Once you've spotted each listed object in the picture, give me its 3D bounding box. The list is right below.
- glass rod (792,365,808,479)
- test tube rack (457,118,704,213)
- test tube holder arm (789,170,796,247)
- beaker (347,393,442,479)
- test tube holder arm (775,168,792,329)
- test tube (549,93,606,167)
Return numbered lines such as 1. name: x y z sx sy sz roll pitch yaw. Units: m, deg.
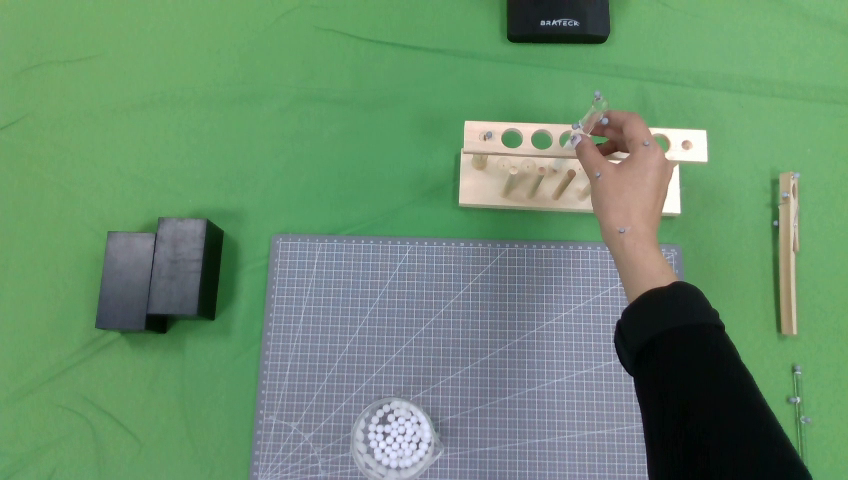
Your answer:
1. glass rod: 0.384 0.228 0.613 0.008 0.008 0.198 3 77 1
2. test tube rack: 0.159 -0.077 0.644 0.242 0.085 0.066 3 77 1
3. test tube holder arm: 0.401 -0.035 0.668 0.010 0.015 0.087 15 76 -27
4. beaker: -0.025 0.183 0.576 0.084 0.100 0.073 10 77 2
5. test tube holder arm: 0.390 0.008 0.656 0.013 0.015 0.177 15 76 -28
6. test tube: 0.148 -0.104 0.599 0.017 0.151 0.017 1 76 -2
